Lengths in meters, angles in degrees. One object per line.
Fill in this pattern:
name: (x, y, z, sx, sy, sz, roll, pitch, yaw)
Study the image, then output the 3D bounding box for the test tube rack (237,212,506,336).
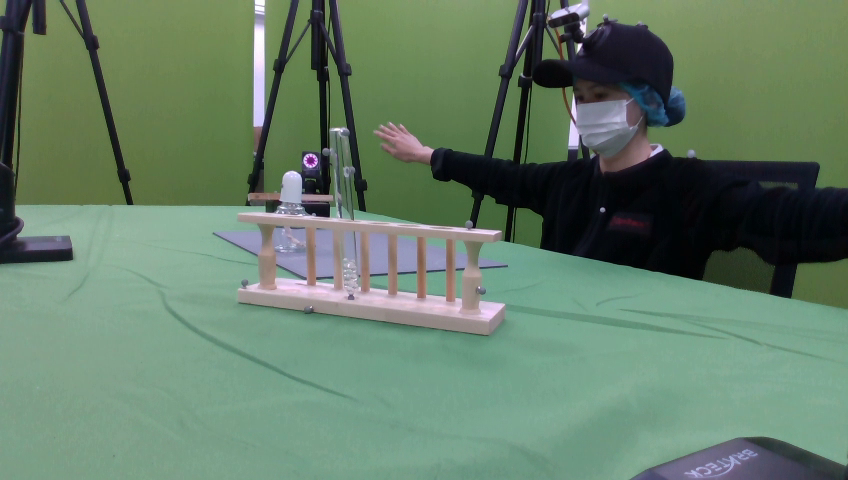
test tube rack: (-0.049, 0.024, 0.552, 0.242, 0.085, 0.067, 5, 8, 18)

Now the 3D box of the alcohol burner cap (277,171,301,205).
alcohol burner cap: (-0.195, -0.077, 0.880, 0.034, 0.048, 0.034, 7, 7, 0)

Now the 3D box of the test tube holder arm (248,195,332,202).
test tube holder arm: (-0.269, -0.085, 1.229, 0.179, 0.015, 0.013, -2, 1, -37)

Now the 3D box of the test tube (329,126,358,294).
test tube: (-0.071, -0.025, 0.534, 0.017, 0.150, 0.017, -3, 10, 1)

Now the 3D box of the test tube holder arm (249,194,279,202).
test tube holder arm: (-0.302, -0.084, 1.197, 0.088, 0.015, 0.010, -2, 1, -37)

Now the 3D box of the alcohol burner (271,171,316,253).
alcohol burner: (-0.196, -0.041, 0.884, 0.078, 0.119, 0.078, 3, 5, 0)
